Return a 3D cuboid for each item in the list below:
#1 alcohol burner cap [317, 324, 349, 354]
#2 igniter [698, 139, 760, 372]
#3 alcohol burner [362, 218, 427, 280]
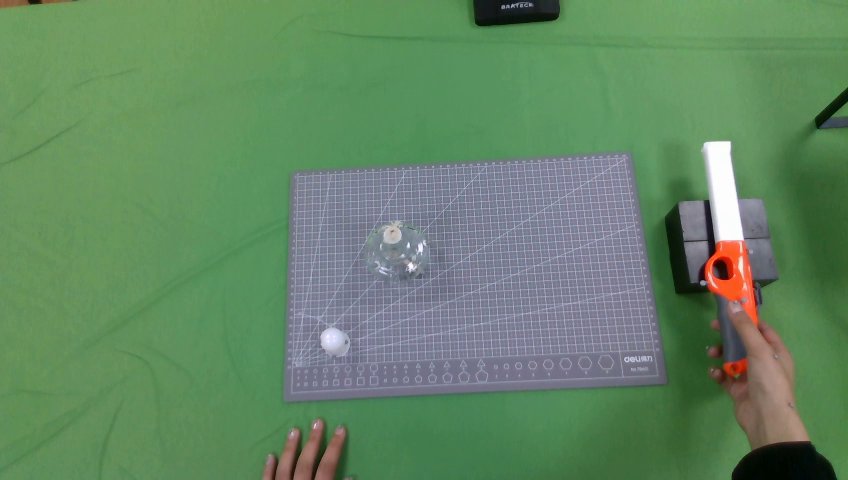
[{"bbox_3d":[-0.109,0.115,0.714,0.034,0.048,0.033,-1,72,5],"label":"alcohol burner cap"},{"bbox_3d":[0.344,0.011,0.690,0.057,0.025,0.274,0,71,8],"label":"igniter"},{"bbox_3d":[-0.036,0.005,0.708,0.078,0.120,0.077,0,71,1],"label":"alcohol burner"}]
